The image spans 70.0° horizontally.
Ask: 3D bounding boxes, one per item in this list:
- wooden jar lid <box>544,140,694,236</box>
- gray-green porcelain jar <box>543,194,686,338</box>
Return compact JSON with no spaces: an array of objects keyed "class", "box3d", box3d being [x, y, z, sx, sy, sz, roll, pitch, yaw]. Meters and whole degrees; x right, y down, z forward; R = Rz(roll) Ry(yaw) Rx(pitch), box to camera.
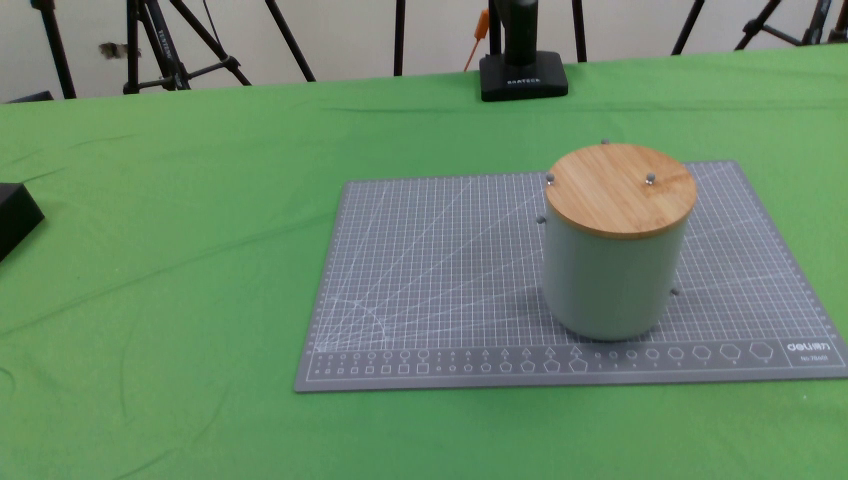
[{"class":"wooden jar lid","box3d":[0.145,-0.037,0.458,0.108,0.021,0.107,-5,43,5]},{"class":"gray-green porcelain jar","box3d":[0.151,0.009,0.500,0.106,0.128,0.105,-4,42,4]}]
